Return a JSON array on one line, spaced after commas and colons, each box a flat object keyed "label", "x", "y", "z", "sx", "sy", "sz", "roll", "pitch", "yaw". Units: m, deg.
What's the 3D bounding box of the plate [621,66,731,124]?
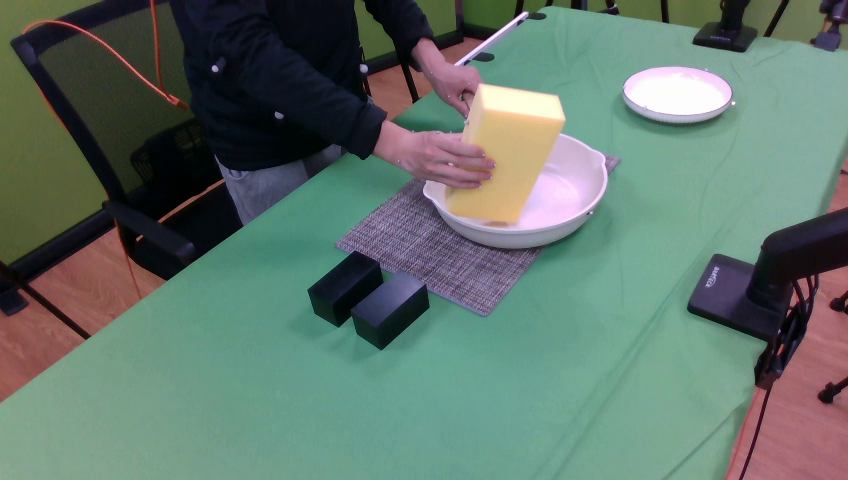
[{"label": "plate", "x": 0.503, "y": -0.288, "z": 1.221, "sx": 0.207, "sy": 0.039, "sz": 0.206, "roll": -4, "pitch": 41, "yaw": 4}]

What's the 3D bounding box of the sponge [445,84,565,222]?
[{"label": "sponge", "x": 0.112, "y": -0.121, "z": 0.896, "sx": 0.119, "sy": 0.207, "sz": 0.060, "roll": 6, "pitch": 47, "yaw": -12}]

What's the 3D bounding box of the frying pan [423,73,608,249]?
[{"label": "frying pan", "x": 0.130, "y": -0.160, "z": 1.069, "sx": 0.307, "sy": 0.103, "sz": 0.484, "roll": -11, "pitch": 49, "yaw": -6}]
